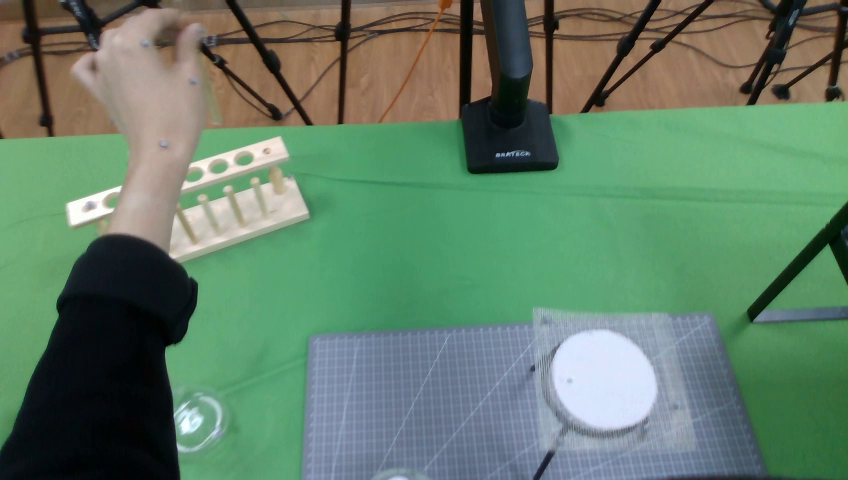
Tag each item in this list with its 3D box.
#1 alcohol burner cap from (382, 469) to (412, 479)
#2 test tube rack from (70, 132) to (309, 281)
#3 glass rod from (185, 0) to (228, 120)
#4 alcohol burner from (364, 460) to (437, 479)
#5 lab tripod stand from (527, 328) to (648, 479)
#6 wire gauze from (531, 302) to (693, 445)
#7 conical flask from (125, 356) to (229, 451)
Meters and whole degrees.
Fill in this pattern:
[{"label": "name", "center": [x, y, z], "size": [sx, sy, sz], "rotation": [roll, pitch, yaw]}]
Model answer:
[{"label": "alcohol burner cap", "center": [-0.022, 0.204, 0.493], "size": [0.034, 0.048, 0.033], "rotation": [2, 51, -2]}, {"label": "test tube rack", "center": [-0.267, -0.040, 0.713], "size": [0.242, 0.086, 0.066], "rotation": [-21, 60, -12]}, {"label": "glass rod", "center": [-0.176, -0.157, 0.484], "size": [0.008, 0.201, 0.008], "rotation": [3, 65, -6]}, {"label": "alcohol burner", "center": [-0.021, 0.226, 0.523], "size": [0.078, 0.120, 0.077], "rotation": [1, 56, -1]}, {"label": "lab tripod stand", "center": [0.146, 0.147, 0.558], "size": [0.148, 0.132, 0.147], "rotation": [0, 56, 0]}, {"label": "wire gauze", "center": [0.152, 0.107, 0.503], "size": [0.121, 0.011, 0.124], "rotation": [2, 58, 0]}, {"label": "conical flask", "center": [-0.237, 0.149, 0.572], "size": [0.075, 0.123, 0.074], "rotation": [0, 57, 1]}]
